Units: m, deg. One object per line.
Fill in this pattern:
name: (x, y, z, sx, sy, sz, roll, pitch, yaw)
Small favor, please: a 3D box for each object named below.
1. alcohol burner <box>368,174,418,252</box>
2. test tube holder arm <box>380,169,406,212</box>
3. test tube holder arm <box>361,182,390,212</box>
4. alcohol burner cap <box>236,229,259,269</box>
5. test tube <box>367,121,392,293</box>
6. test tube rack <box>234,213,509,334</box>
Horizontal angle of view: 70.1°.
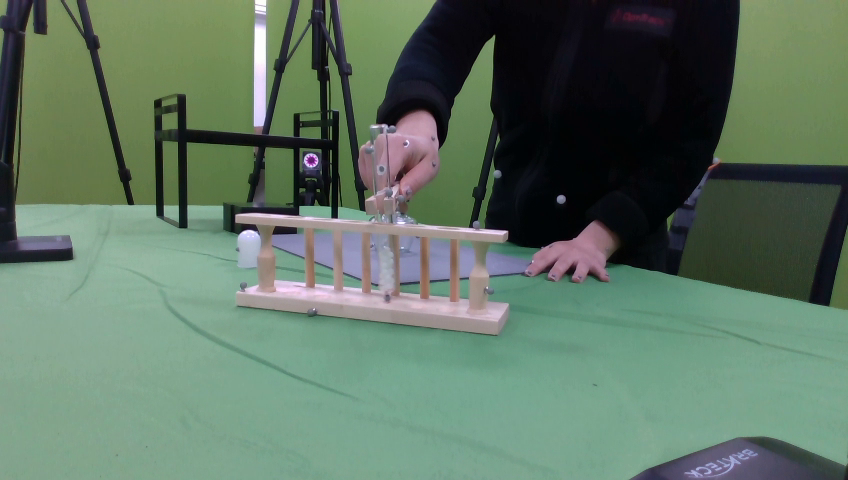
alcohol burner: (-0.047, -0.041, 0.922, 0.078, 0.119, 0.078, 1, 9, 0)
test tube holder arm: (-0.028, -0.050, 0.583, 0.013, 0.015, 0.178, 0, 14, 4)
test tube holder arm: (-0.039, -0.039, 0.541, 0.010, 0.015, 0.088, 2, 14, 12)
alcohol burner cap: (-0.221, 0.010, 0.759, 0.034, 0.048, 0.034, 0, 12, 0)
test tube: (-0.038, -0.026, 0.519, 0.017, 0.150, 0.017, -2, 13, 1)
test tube rack: (-0.046, 0.023, 0.547, 0.242, 0.085, 0.067, 4, 8, 15)
